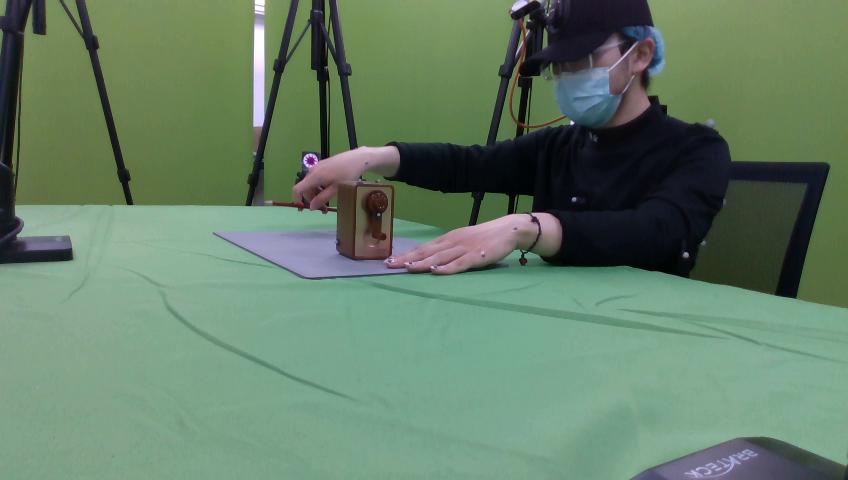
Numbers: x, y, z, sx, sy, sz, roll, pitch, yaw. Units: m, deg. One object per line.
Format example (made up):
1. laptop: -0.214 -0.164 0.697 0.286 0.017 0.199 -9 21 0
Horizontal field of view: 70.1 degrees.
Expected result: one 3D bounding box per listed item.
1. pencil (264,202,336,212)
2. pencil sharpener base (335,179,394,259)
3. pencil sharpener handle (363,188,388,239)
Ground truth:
1. pencil: -0.212 -0.060 1.122 0.195 0.012 0.012 4 5 -45
2. pencil sharpener base: -0.084 -0.030 0.854 0.061 0.107 0.076 -1 8 -28
3. pencil sharpener handle: -0.060 -0.035 0.808 0.036 0.067 0.030 -2 9 -28
